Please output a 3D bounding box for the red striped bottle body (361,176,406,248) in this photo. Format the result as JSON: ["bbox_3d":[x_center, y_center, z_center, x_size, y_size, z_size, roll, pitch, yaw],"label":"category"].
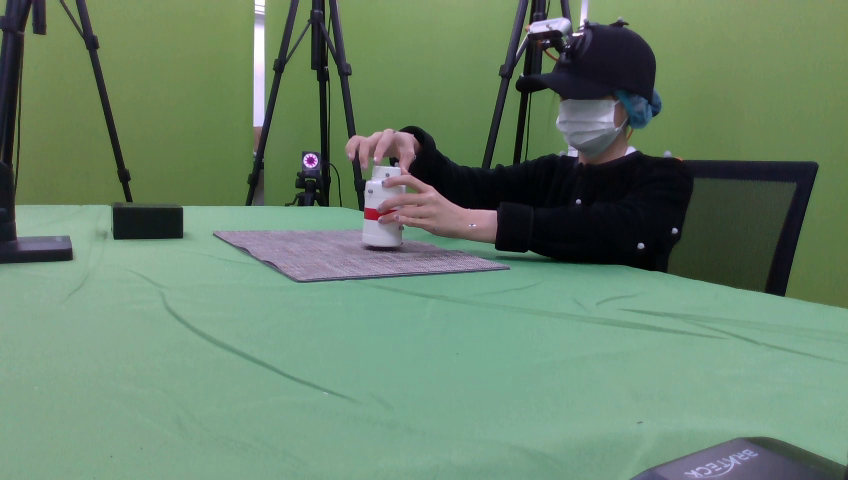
[{"bbox_3d":[-0.062,-0.051,0.929,0.063,0.119,0.063,5,7,0],"label":"red striped bottle body"}]

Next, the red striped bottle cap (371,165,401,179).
[{"bbox_3d":[-0.057,-0.103,0.921,0.044,0.017,0.044,6,5,0],"label":"red striped bottle cap"}]
